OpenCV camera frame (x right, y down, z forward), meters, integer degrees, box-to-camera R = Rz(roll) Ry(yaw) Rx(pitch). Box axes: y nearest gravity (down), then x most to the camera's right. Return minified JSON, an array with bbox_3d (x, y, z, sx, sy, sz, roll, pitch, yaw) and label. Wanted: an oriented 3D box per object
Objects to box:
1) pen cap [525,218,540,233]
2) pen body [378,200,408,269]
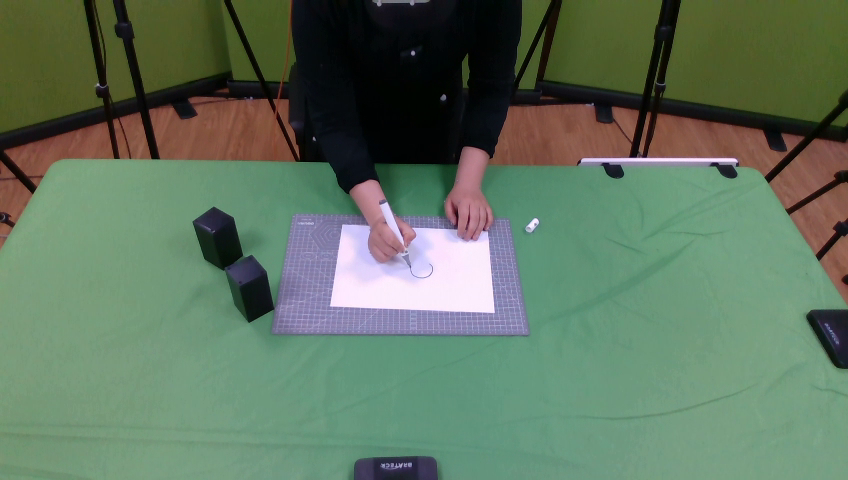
[{"bbox_3d":[0.224,-0.031,1.248,0.017,0.017,0.038,30,51,23],"label":"pen cap"},{"bbox_3d":[-0.055,-0.007,1.130,0.017,0.144,0.017,-18,21,7],"label":"pen body"}]
